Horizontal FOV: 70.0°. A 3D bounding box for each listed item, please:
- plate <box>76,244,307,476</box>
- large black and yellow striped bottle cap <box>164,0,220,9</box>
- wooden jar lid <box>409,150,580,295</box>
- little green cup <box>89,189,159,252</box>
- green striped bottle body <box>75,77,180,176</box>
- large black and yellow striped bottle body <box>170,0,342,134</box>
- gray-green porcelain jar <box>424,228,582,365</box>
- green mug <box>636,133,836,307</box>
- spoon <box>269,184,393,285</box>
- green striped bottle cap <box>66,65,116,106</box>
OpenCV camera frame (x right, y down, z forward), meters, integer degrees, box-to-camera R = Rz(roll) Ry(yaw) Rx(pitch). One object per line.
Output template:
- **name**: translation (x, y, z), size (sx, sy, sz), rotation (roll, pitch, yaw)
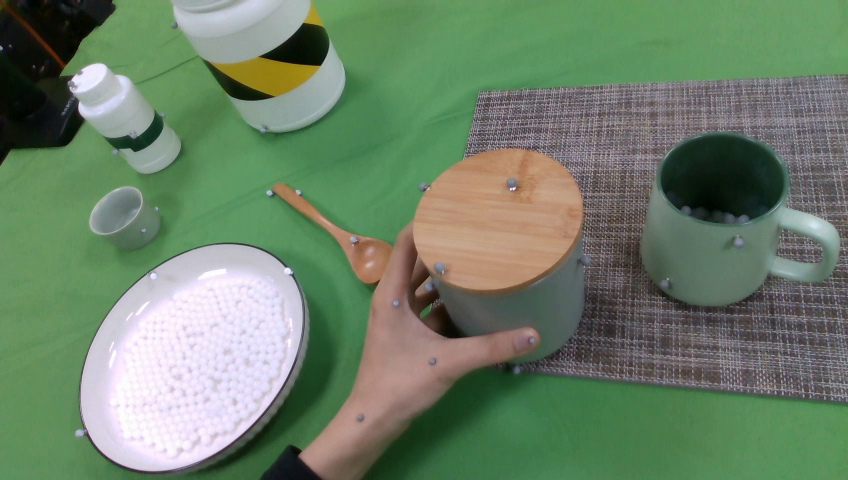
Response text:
- **plate**: translation (-0.194, 0.099, 0.524), size (0.209, 0.038, 0.207), rotation (-8, 55, 12)
- **large black and yellow striped bottle cap**: translation (-0.199, -0.261, 0.569), size (0.115, 0.019, 0.114), rotation (-8, 54, 12)
- **wooden jar lid**: translation (0.044, -0.010, 0.384), size (0.108, 0.021, 0.107), rotation (-10, 55, 15)
- **little green cup**: translation (-0.313, -0.019, 0.638), size (0.061, 0.039, 0.061), rotation (-8, 54, 12)
- **green striped bottle body**: translation (-0.330, -0.130, 0.667), size (0.063, 0.120, 0.062), rotation (-8, 55, 12)
- **large black and yellow striped bottle body**: translation (-0.177, -0.217, 0.637), size (0.130, 0.186, 0.129), rotation (-8, 56, 12)
- **gray-green porcelain jar**: translation (0.059, 0.024, 0.435), size (0.105, 0.128, 0.105), rotation (-7, 55, 11)
- **green mug**: translation (0.214, -0.006, 0.422), size (0.124, 0.106, 0.092), rotation (23, 66, 28)
- **spoon**: translation (-0.095, -0.014, 0.578), size (0.192, 0.022, 0.041), rotation (35, 90, 32)
- **green striped bottle cap**: translation (-0.344, -0.159, 0.625), size (0.044, 0.020, 0.044), rotation (-6, 58, 10)
